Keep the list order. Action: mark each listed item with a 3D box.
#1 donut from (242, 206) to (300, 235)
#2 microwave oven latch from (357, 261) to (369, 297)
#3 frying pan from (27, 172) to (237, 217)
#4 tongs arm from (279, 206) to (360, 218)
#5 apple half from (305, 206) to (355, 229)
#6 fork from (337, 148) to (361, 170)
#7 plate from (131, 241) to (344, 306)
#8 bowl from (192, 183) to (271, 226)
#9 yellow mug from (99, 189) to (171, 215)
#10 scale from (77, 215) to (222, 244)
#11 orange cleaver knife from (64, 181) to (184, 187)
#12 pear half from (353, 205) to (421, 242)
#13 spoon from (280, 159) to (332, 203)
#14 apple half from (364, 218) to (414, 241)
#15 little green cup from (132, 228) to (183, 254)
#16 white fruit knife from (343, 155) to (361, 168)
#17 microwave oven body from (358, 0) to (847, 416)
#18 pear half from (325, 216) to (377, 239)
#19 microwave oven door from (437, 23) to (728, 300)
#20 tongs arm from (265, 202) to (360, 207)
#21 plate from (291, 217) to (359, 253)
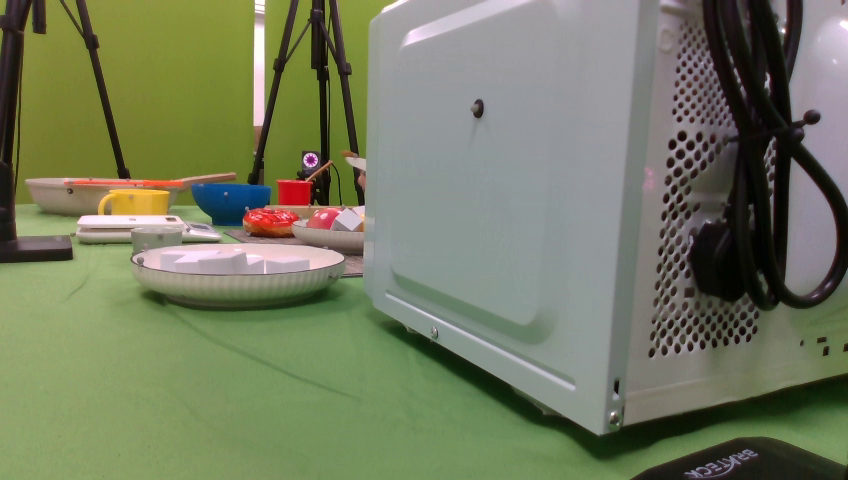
[{"bbox_3d":[-0.263,-0.032,1.039,0.099,0.048,0.099,4,9,0],"label":"donut"},{"bbox_3d":[-0.019,0.033,0.530,0.079,0.029,0.030,-1,7,-26],"label":"microwave oven latch"},{"bbox_3d":[-0.624,-0.118,1.387,0.305,0.102,0.490,8,17,32],"label":"frying pan"},{"bbox_3d":[-0.171,-0.067,1.402,0.387,0.026,0.050,-3,5,-40],"label":"tongs arm"},{"bbox_3d":[-0.138,-0.025,0.917,0.081,0.053,0.074,0,10,-43],"label":"apple half"},{"bbox_3d":[-0.101,-0.118,1.192,0.028,0.018,0.208,14,-26,44],"label":"fork"},{"bbox_3d":[-0.187,0.033,0.625,0.208,0.039,0.207,2,7,0],"label":"plate"},{"bbox_3d":[-0.382,-0.071,1.202,0.151,0.077,0.151,3,7,0],"label":"bowl"},{"bbox_3d":[-0.519,-0.055,1.080,0.099,0.064,0.131,6,9,26],"label":"yellow mug"},{"bbox_3d":[-0.434,-0.019,0.963,0.202,0.031,0.148,-1,9,-27],"label":"scale"},{"bbox_3d":[-0.595,-0.114,1.212,0.212,0.012,0.077,-3,7,-41],"label":"orange cleaver knife"},{"bbox_3d":[-0.051,-0.024,0.905,0.110,0.056,0.076,2,-1,-38],"label":"pear half"},{"bbox_3d":[-0.316,-0.159,1.640,0.194,0.022,0.041,-50,31,-20],"label":"spoon"},{"bbox_3d":[-0.054,-0.019,0.968,0.081,0.033,0.081,-2,10,1],"label":"apple half"},{"bbox_3d":[-0.342,0.006,0.779,0.061,0.038,0.061,2,8,0],"label":"little green cup"},{"bbox_3d":[-0.072,-0.130,1.106,0.016,0.027,0.208,16,4,38],"label":"white fruit knife"},{"bbox_3d":[0.211,-0.047,0.474,0.444,0.260,0.324,-1,7,-28],"label":"microwave oven body"},{"bbox_3d":[-0.118,-0.023,0.996,0.088,0.031,0.070,-4,23,-28],"label":"pear half"},{"bbox_3d":[0.181,-0.073,0.621,0.358,0.243,0.039,-2,8,-29],"label":"microwave oven door"},{"bbox_3d":[-0.218,-0.075,1.470,0.389,0.027,0.028,0,1,-26],"label":"tongs arm"},{"bbox_3d":[-0.103,-0.009,0.945,0.209,0.038,0.209,2,7,0],"label":"plate"}]
